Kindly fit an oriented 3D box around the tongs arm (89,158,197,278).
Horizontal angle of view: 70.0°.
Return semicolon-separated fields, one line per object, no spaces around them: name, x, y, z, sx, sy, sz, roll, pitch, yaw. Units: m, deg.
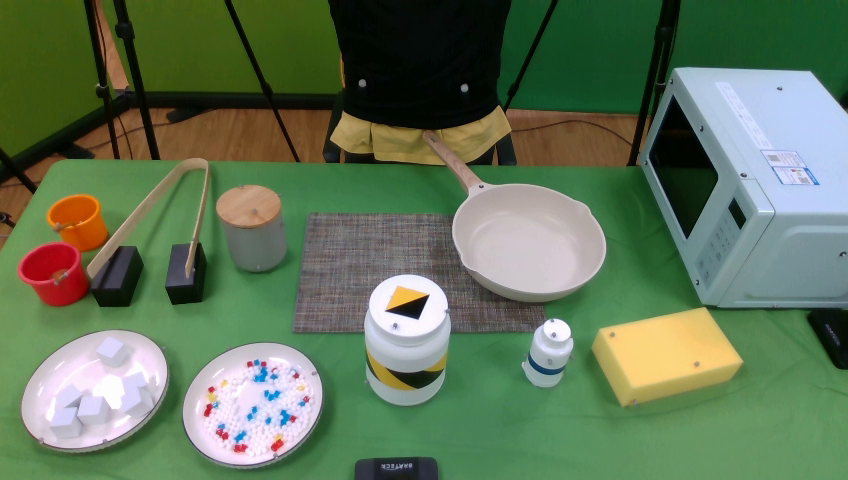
tongs arm;-0.530;-0.057;1.164;0.028;0.028;0.385;1;36;8

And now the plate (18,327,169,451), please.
plate;-0.498;0.229;0.929;0.208;0.039;0.206;2;47;-2

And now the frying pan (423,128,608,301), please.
frying pan;0.142;-0.069;1.208;0.307;0.103;0.485;-23;60;-25

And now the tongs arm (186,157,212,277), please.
tongs arm;-0.445;-0.058;1.168;0.051;0.026;0.382;-5;37;-6

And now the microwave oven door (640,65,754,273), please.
microwave oven door;0.523;-0.147;1.193;0.039;0.245;0.353;0;47;-3

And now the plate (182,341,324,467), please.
plate;-0.257;0.250;0.927;0.209;0.038;0.208;3;46;-2

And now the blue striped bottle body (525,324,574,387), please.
blue striped bottle body;0.202;0.179;0.970;0.063;0.121;0.062;2;46;-2

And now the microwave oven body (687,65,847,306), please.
microwave oven body;0.669;-0.111;1.176;0.326;0.261;0.439;0;46;-3

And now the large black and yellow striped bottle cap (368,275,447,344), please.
large black and yellow striped bottle cap;-0.024;0.098;0.871;0.115;0.019;0.114;2;45;-2

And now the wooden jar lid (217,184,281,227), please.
wooden jar lid;-0.307;-0.057;1.067;0.108;0.021;0.107;5;44;-4

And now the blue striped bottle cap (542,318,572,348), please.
blue striped bottle cap;0.205;0.143;0.933;0.044;0.021;0.044;0;47;0

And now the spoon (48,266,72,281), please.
spoon;-0.609;0.057;1.010;0.041;0.022;0.193;-32;13;-27

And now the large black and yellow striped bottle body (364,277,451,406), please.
large black and yellow striped bottle body;-0.026;0.155;0.933;0.131;0.185;0.130;2;47;-2

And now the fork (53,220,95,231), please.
fork;-0.627;-0.026;1.086;0.028;0.207;0.018;0;91;-15

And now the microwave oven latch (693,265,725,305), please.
microwave oven latch;0.523;0.082;1.115;0.030;0.029;0.078;2;46;-1

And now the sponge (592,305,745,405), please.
sponge;0.405;0.190;1.014;0.207;0.061;0.117;-10;48;-13

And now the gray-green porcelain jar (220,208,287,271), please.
gray-green porcelain jar;-0.309;-0.014;1.113;0.106;0.127;0.105;2;47;-1
